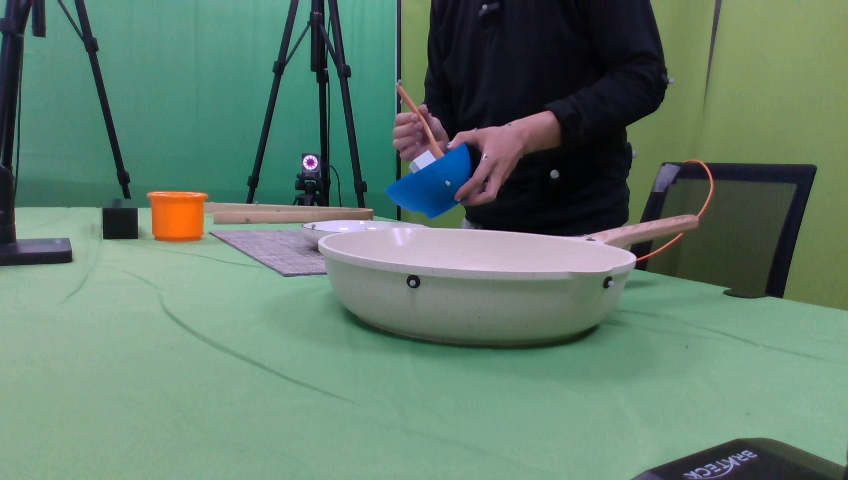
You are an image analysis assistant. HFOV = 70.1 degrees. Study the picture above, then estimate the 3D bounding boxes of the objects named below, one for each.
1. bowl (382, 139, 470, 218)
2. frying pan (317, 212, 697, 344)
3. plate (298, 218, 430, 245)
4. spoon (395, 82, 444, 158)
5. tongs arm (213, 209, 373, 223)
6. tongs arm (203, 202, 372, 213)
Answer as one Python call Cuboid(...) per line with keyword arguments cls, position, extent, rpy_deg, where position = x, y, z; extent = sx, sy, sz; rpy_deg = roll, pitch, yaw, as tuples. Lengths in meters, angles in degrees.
Cuboid(cls="bowl", position=(0.018, -0.087, 0.957), extent=(0.151, 0.077, 0.151), rpy_deg=(-30, 7, 5))
Cuboid(cls="frying pan", position=(0.133, 0.013, 0.629), extent=(0.490, 0.102, 0.305), rpy_deg=(-12, 14, -31))
Cuboid(cls="plate", position=(-0.091, -0.006, 0.949), extent=(0.208, 0.039, 0.207), rpy_deg=(2, 7, 0))
Cuboid(cls="spoon", position=(0.003, -0.179, 0.985), extent=(0.022, 0.193, 0.041), rpy_deg=(-23, -14, -21))
Cuboid(cls="tongs arm", position=(-0.274, -0.054, 1.347), extent=(0.390, 0.028, 0.028), rpy_deg=(-2, 6, -37))
Cuboid(cls="tongs arm", position=(-0.312, -0.068, 1.418), extent=(0.387, 0.026, 0.050), rpy_deg=(1, 8, -24))
